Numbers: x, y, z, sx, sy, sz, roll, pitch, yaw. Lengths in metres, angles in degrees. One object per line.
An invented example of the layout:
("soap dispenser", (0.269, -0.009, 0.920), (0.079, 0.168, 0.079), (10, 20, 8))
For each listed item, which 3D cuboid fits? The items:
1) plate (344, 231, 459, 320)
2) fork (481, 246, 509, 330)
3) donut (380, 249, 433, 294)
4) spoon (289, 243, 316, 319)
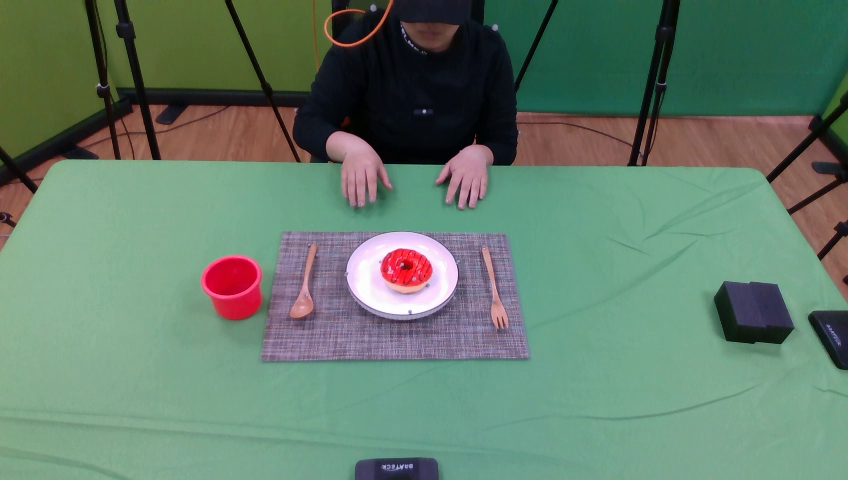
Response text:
("plate", (-0.042, 0.068, 1.115), (0.209, 0.038, 0.208), (2, 46, -2))
("fork", (0.128, 0.084, 1.125), (0.028, 0.019, 0.206), (-7, 48, -1))
("donut", (-0.032, 0.056, 1.111), (0.099, 0.048, 0.098), (4, 43, -3))
("spoon", (-0.215, 0.071, 1.108), (0.041, 0.022, 0.192), (-10, 45, 10))
